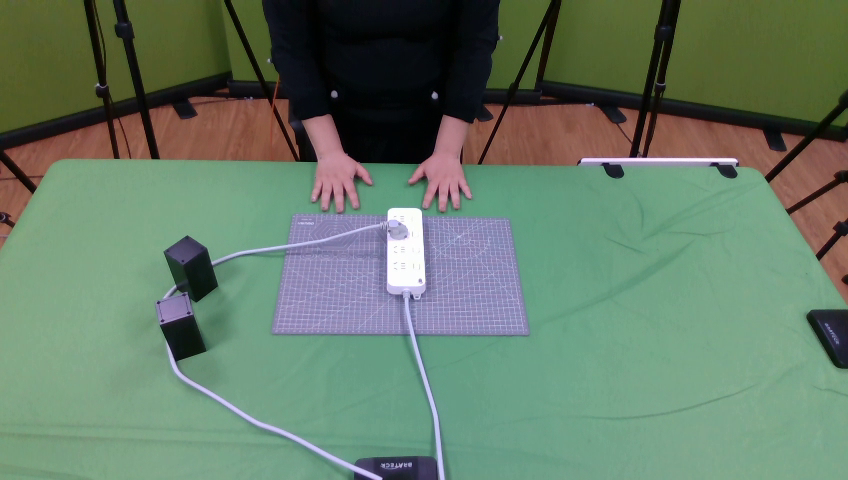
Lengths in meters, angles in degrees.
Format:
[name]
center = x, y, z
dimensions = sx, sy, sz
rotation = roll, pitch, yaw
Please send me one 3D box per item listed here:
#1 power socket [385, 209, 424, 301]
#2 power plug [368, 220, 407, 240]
[power socket]
center = -0.039, 0.019, 1.165
dimensions = 0.072, 0.033, 0.225
rotation = 0, 46, -3
[power plug]
center = -0.068, -0.017, 1.173
dimensions = 0.072, 0.053, 0.035
rotation = 6, 44, 6
